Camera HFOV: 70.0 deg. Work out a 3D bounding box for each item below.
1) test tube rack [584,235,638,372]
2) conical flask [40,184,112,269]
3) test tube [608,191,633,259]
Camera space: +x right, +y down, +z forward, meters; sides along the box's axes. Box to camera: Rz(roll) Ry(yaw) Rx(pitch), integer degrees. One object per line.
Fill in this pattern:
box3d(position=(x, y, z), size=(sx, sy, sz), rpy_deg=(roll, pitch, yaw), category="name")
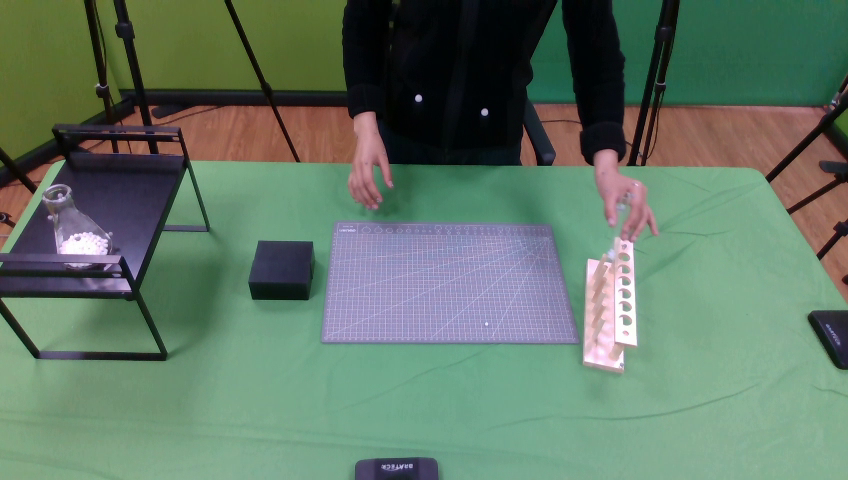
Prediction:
box3d(position=(0.329, 0.103, 1.073), size=(0.067, 0.085, 0.241), rpy_deg=(11, 47, 7), category="test tube rack")
box3d(position=(-0.501, -0.022, 0.861), size=(0.075, 0.122, 0.075), rpy_deg=(2, 46, -1), category="conical flask")
box3d(position=(0.326, -0.021, 1.011), size=(0.017, 0.151, 0.017), rpy_deg=(-2, 46, 2), category="test tube")
